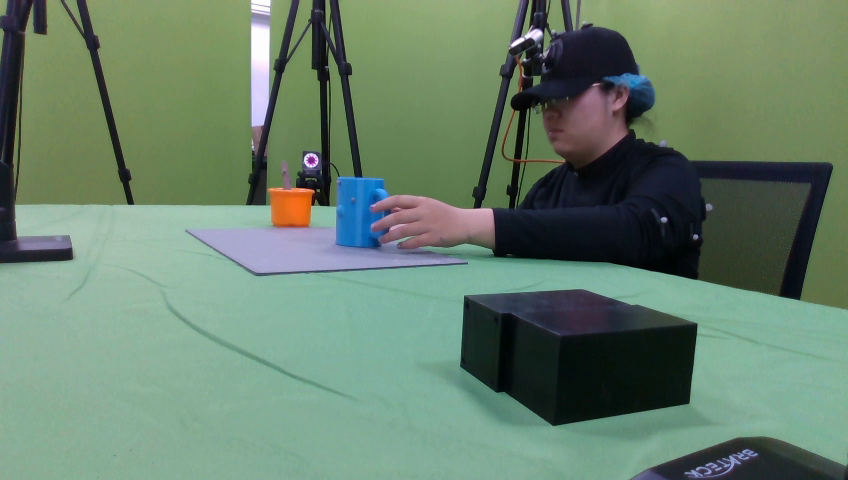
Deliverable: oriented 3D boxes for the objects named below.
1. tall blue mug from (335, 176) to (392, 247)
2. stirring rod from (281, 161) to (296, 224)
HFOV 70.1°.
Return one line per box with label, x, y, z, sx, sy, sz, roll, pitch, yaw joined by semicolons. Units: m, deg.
tall blue mug;-0.089;-0.046;0.971;0.107;0.108;0.078;5;7;20
stirring rod;-0.278;-0.099;1.239;0.014;0.006;0.175;2;49;-25
